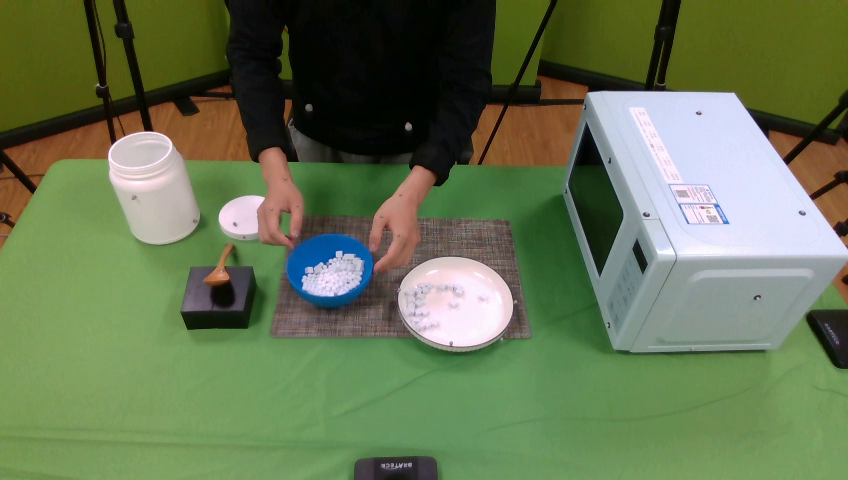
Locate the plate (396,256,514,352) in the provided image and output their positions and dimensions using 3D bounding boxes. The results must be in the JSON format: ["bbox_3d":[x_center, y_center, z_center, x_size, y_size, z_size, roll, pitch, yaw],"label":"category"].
[{"bbox_3d":[0.053,0.116,1.077,0.209,0.038,0.208,2,46,-2],"label":"plate"}]

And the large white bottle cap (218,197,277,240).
[{"bbox_3d":[-0.355,-0.045,1.220,0.115,0.018,0.114,2,45,-2],"label":"large white bottle cap"}]

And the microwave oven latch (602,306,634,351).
[{"bbox_3d":[0.332,0.153,1.044,0.030,0.029,0.078,0,45,-4],"label":"microwave oven latch"}]

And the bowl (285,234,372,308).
[{"bbox_3d":[-0.167,0.069,1.077,0.151,0.077,0.150,3,45,-3],"label":"bowl"}]

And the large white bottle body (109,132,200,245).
[{"bbox_3d":[-0.506,-0.097,1.141,0.131,0.185,0.130,2,46,-2],"label":"large white bottle body"}]

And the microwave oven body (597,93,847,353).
[{"bbox_3d":[0.475,-0.041,1.109,0.326,0.261,0.438,-1,45,-4],"label":"microwave oven body"}]

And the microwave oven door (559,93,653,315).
[{"bbox_3d":[0.327,-0.074,1.123,0.039,0.245,0.353,-1,46,-5],"label":"microwave oven door"}]

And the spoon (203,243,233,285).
[{"bbox_3d":[-0.360,0.039,1.087,0.041,0.022,0.192,-5,24,-6],"label":"spoon"}]
